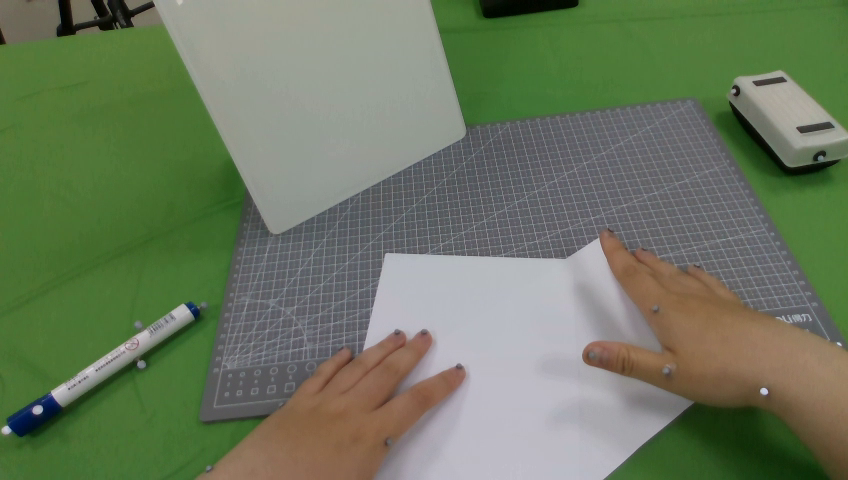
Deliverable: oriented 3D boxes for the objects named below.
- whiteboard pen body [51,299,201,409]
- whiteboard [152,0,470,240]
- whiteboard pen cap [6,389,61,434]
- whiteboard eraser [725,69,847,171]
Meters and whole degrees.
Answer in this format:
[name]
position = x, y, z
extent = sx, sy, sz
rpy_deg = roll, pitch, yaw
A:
[whiteboard pen body]
position = -0.231, 0.089, 0.453
extent = 0.140, 0.017, 0.017
rpy_deg = -37, 54, -25
[whiteboard]
position = -0.119, -0.197, 0.546
extent = 0.217, 0.308, 0.142
rpy_deg = -30, 30, -17
[whiteboard pen cap]
position = -0.274, 0.120, 0.428
extent = 0.033, 0.018, 0.018
rpy_deg = -38, 54, -25
[whiteboard eraser]
position = 0.325, -0.108, 0.546
extent = 0.055, 0.042, 0.111
rpy_deg = -12, 48, -1
